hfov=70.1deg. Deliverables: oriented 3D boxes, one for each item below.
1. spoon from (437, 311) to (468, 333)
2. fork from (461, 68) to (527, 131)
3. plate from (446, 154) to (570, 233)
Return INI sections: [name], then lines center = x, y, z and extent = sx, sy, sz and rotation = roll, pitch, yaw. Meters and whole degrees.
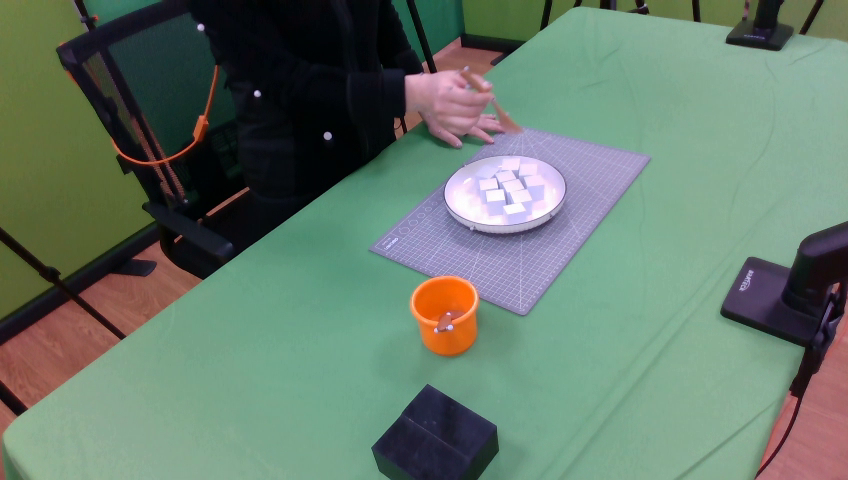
[spoon]
center = 0.030, 0.102, 0.761
extent = 0.041, 0.194, 0.021
rotation = 4, 85, 8
[fork]
center = 0.106, -0.201, 0.889
extent = 0.028, 0.209, 0.018
rotation = -1, 73, 32
[plate]
center = 0.142, -0.076, 1.033
extent = 0.207, 0.039, 0.206
rotation = -5, 40, 5
